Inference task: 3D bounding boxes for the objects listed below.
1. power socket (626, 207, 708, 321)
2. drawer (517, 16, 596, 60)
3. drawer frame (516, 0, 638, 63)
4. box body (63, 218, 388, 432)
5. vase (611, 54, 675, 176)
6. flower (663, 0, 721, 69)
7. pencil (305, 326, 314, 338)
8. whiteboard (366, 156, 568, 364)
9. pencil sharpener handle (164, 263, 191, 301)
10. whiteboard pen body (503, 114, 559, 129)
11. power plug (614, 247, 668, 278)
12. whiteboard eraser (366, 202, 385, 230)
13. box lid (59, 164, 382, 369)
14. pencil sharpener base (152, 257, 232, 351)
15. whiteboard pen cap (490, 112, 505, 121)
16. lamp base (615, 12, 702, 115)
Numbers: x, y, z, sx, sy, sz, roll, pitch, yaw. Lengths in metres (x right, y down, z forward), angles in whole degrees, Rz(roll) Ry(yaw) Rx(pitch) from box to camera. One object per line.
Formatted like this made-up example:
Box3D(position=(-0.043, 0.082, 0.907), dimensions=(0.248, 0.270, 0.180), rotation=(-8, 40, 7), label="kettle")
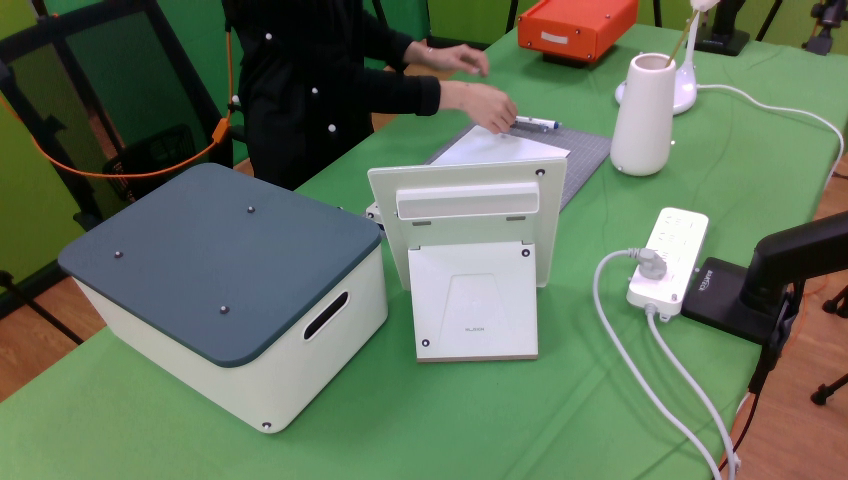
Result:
Box3D(position=(0.359, 0.025, 0.886), dimensions=(0.072, 0.033, 0.227), rotation=(16, 46, 26), label="power socket")
Box3D(position=(0.352, -0.506, 1.405), dimensions=(0.193, 0.073, 0.212), rotation=(23, 49, 32), label="drawer")
Box3D(position=(0.355, -0.508, 1.410), dimensions=(0.200, 0.083, 0.214), rotation=(23, 51, 32), label="drawer frame")
Box3D(position=(-0.256, 0.065, 0.827), dimensions=(0.361, 0.161, 0.255), rotation=(20, 48, 29), label="box body")
Box3D(position=(0.377, -0.209, 1.031), dimensions=(0.098, 0.201, 0.097), rotation=(-3, 40, 3), label="vase")
Box3D(position=(0.379, -0.261, 0.965), dimensions=(0.044, 0.362, 0.038), rotation=(20, 53, 5), label="flower")
Box3D(position=(-0.187, 0.106, 0.880), dimensions=(0.012, 0.012, 0.192), rotation=(-27, 41, -22), label="pencil")
Box3D(position=(0.059, 0.050, 0.738), dimensions=(0.217, 0.307, 0.143), rotation=(-2, 60, 6), label="whiteboard")
Box3D(position=(-0.354, 0.055, 0.866), dimensions=(0.036, 0.068, 0.030), rotation=(-17, 39, -29), label="pencil sharpener handle")
Box3D(position=(0.205, -0.242, 1.224), dimensions=(0.140, 0.017, 0.017), rotation=(14, 45, 26), label="whiteboard pen body")
Box3D(position=(0.306, 0.031, 0.851), dimensions=(0.072, 0.053, 0.035), rotation=(24, 49, 33), label="power plug")
Box3D(position=(-0.038, -0.038, 1.006), dimensions=(0.112, 0.042, 0.055), rotation=(16, 47, 25), label="whiteboard eraser")
Box3D(position=(-0.263, 0.010, 0.777), dimensions=(0.368, 0.015, 0.264), rotation=(20, 47, 29), label="box lid")
Box3D(position=(-0.322, 0.088, 0.841), dimensions=(0.061, 0.107, 0.076), rotation=(-27, 44, -20), label="pencil sharpener base")
Box3D(position=(0.154, -0.254, 1.250), dimensions=(0.033, 0.018, 0.018), rotation=(16, 45, 26), label="whiteboard pen cap")
Box3D(position=(0.484, -0.364, 1.211), dimensions=(0.180, 0.181, 0.159), rotation=(-15, 41, -14), label="lamp base")
